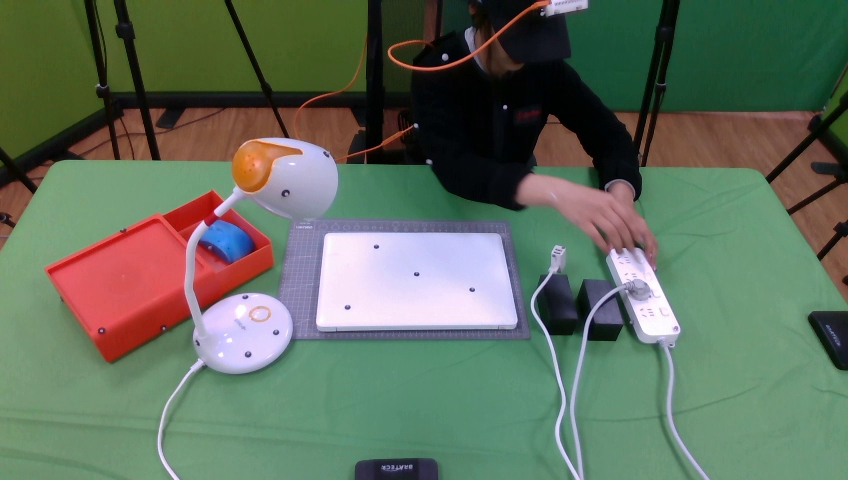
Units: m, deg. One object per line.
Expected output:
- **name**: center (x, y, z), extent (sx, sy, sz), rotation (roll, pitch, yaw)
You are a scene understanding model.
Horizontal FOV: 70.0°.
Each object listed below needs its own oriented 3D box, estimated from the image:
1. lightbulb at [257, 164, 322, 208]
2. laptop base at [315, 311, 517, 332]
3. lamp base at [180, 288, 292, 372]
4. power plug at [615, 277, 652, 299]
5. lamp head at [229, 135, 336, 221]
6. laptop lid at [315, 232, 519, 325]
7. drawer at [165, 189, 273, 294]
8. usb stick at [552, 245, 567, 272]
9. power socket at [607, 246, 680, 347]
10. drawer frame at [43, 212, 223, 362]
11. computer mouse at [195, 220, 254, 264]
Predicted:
- **lightbulb**: center (-0.181, -0.077, 0.810), extent (0.059, 0.059, 0.108), rotation (36, 10, 27)
- **laptop base**: center (-0.016, 0.075, 1.124), extent (0.355, 0.023, 0.234), rotation (0, 42, -4)
- **lamp base**: center (-0.309, 0.108, 0.959), extent (0.160, 0.181, 0.179), rotation (29, 55, 22)
- **power plug**: center (0.375, 0.088, 1.097), extent (0.072, 0.053, 0.035), rotation (6, 46, 2)
- **lamp head**: center (-0.196, -0.085, 0.791), extent (0.112, 0.112, 0.123), rotation (36, 14, 27)
- **laptop lid**: center (-0.015, 0.065, 1.118), extent (0.357, 0.013, 0.240), rotation (1, 43, -3)
- **drawer**: center (-0.419, 0.022, 1.108), extent (0.193, 0.073, 0.211), rotation (38, 55, 27)
- **usb stick**: center (0.251, 0.039, 1.124), extent (0.021, 0.059, 0.027), rotation (14, 48, 25)
- **power socket**: center (0.403, 0.096, 1.123), extent (0.072, 0.033, 0.225), rotation (-3, 46, -5)
- **drawer frame**: center (-0.497, 0.073, 1.049), extent (0.213, 0.083, 0.200), rotation (-34, 57, -31)
- **computer mouse**: center (-0.380, -0.002, 1.152), extent (0.116, 0.041, 0.062), rotation (28, 53, 28)
